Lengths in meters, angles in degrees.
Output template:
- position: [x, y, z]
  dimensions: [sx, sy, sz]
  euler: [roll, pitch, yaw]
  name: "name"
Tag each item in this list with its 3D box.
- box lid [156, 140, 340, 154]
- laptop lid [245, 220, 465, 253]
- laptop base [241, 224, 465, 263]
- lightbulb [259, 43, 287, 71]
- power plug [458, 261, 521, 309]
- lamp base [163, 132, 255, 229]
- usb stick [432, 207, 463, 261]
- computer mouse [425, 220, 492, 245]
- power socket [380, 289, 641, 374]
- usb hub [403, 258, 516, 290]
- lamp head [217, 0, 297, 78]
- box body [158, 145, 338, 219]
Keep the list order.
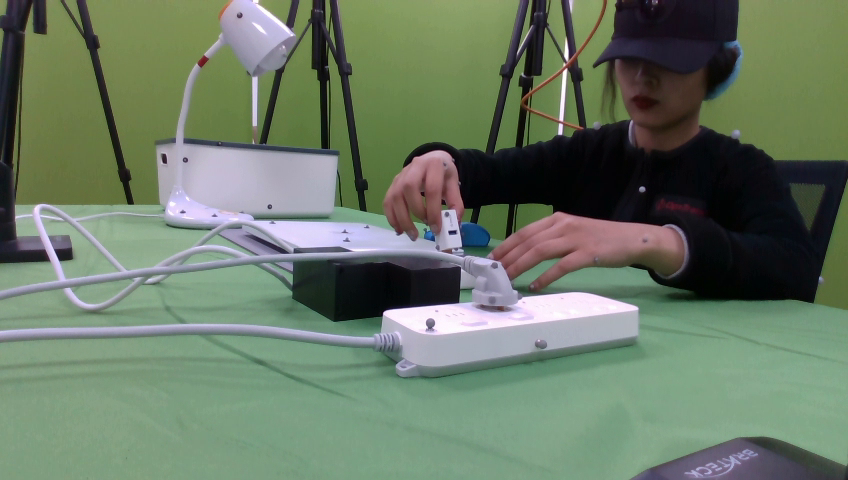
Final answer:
- position: [-0.409, -0.213, 1.404]
  dimensions: [0.373, 0.015, 0.262]
  euler: [-2, 8, -32]
  name: "box lid"
- position: [-0.124, -0.009, 0.945]
  dimensions: [0.243, 0.013, 0.355]
  euler: [1, 7, -29]
  name: "laptop lid"
- position: [-0.126, 0.003, 0.945]
  dimensions: [0.237, 0.023, 0.352]
  euler: [2, 6, -31]
  name: "laptop base"
- position: [-0.295, -0.357, 1.102]
  dimensions: [0.059, 0.107, 0.059]
  euler: [-38, 2, 2]
  name: "lightbulb"
- position: [0.042, 0.043, 0.444]
  dimensions: [0.073, 0.052, 0.035]
  euler: [-14, 7, -44]
  name: "power plug"
- position: [-0.420, -0.116, 1.156]
  dimensions: [0.179, 0.180, 0.160]
  euler: [0, 7, 0]
  name: "lamp base"
- position: [0.027, -0.006, 0.688]
  dimensions: [0.021, 0.059, 0.027]
  euler: [-5, -4, -34]
  name: "usb stick"
- position: [0.060, -0.013, 1.059]
  dimensions: [0.117, 0.041, 0.062]
  euler: [-3, 10, -6]
  name: "computer mouse"
- position: [0.072, 0.064, 0.461]
  dimensions: [0.228, 0.032, 0.072]
  euler: [-3, 7, -30]
  name: "power socket"
- position: [0.042, 0.038, 0.690]
  dimensions: [0.126, 0.025, 0.049]
  euler: [-2, 10, -30]
  name: "usb hub"
- position: [-0.315, -0.372, 1.102]
  dimensions: [0.123, 0.112, 0.112]
  euler: [41, 3, -9]
  name: "lamp head"
- position: [-0.410, -0.139, 1.414]
  dimensions: [0.366, 0.160, 0.253]
  euler: [-3, 9, -33]
  name: "box body"
